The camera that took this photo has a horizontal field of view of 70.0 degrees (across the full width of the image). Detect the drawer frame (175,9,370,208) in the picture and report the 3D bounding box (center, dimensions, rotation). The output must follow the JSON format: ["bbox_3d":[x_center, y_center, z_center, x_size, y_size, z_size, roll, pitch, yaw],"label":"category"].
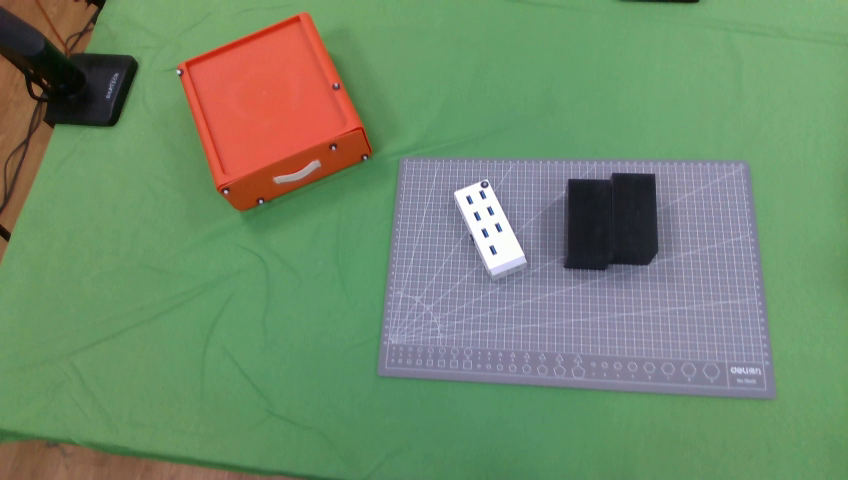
[{"bbox_3d":[-0.207,-0.179,0.826,0.202,0.083,0.211,-25,68,-3],"label":"drawer frame"}]

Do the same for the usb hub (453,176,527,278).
[{"bbox_3d":[0.082,-0.018,0.762,0.049,0.025,0.124,-22,69,-3],"label":"usb hub"}]

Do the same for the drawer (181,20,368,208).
[{"bbox_3d":[-0.205,-0.176,0.827,0.194,0.074,0.210,-24,68,-2],"label":"drawer"}]
